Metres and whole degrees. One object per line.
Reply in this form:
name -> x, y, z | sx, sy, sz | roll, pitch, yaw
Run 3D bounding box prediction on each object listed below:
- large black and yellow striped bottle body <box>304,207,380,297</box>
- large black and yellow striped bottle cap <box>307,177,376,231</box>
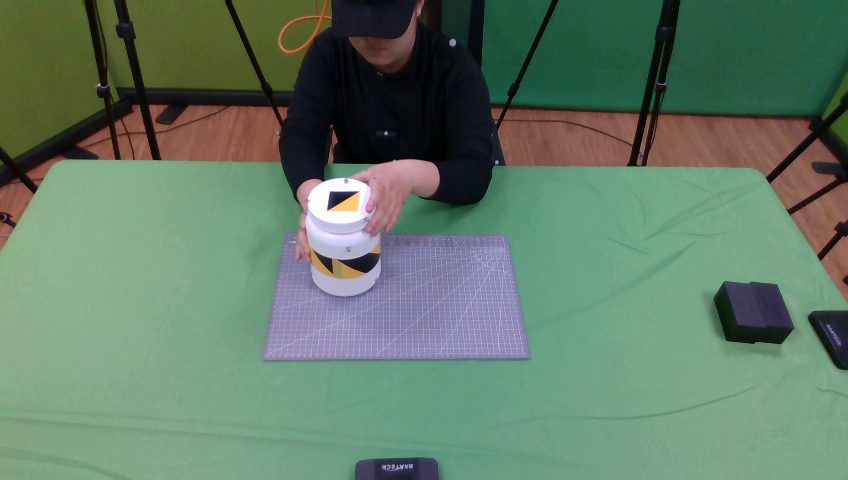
large black and yellow striped bottle body -> -0.143, -0.003, 1.075 | 0.131, 0.185, 0.130 | 2, 46, -2
large black and yellow striped bottle cap -> -0.138, -0.062, 1.014 | 0.115, 0.019, 0.114 | 3, 47, -3
